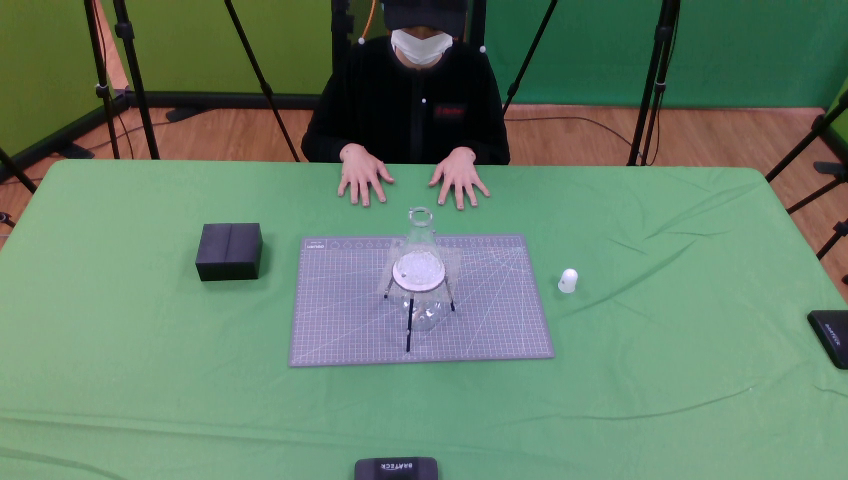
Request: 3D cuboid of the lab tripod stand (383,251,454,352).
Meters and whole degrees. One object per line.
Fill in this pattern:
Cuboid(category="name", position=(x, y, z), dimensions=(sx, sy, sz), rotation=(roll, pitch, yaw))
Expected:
Cuboid(category="lab tripod stand", position=(-0.016, 0.094, 1.025), dimensions=(0.148, 0.132, 0.147), rotation=(1, 46, -1))

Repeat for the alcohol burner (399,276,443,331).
Cuboid(category="alcohol burner", position=(-0.004, 0.100, 1.033), dimensions=(0.078, 0.119, 0.077), rotation=(3, 48, -3))

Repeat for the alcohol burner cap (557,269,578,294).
Cuboid(category="alcohol burner cap", position=(0.270, 0.074, 1.135), dimensions=(0.034, 0.048, 0.033), rotation=(3, 46, -2))

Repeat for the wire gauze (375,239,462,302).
Cuboid(category="wire gauze", position=(-0.006, 0.049, 0.977), dimensions=(0.121, 0.011, 0.124), rotation=(10, 44, 5))

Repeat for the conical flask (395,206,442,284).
Cuboid(category="conical flask", position=(-0.007, 0.005, 0.937), dimensions=(0.075, 0.122, 0.075), rotation=(2, 45, -1))
